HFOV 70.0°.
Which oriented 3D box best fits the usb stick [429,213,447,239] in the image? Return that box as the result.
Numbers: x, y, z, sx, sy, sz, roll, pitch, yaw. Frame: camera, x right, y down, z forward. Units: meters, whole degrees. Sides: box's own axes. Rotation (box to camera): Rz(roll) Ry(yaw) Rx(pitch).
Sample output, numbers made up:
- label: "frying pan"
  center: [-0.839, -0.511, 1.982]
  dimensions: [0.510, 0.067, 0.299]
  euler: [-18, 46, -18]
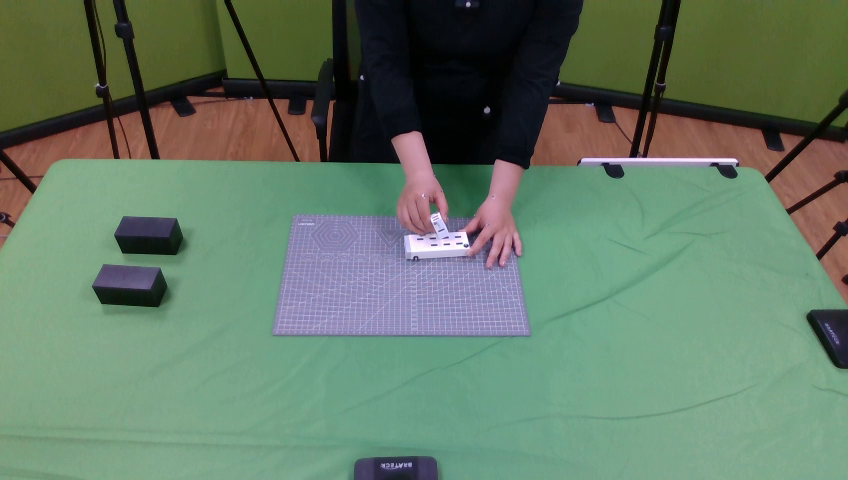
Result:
- label: "usb stick"
  center: [0.028, -0.021, 1.159]
  dimensions: [0.021, 0.059, 0.027]
  euler: [-21, 41, -1]

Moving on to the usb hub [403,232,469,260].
- label: "usb hub"
  center: [0.023, 0.012, 1.182]
  dimensions: [0.125, 0.025, 0.049]
  euler: [-3, 47, -7]
